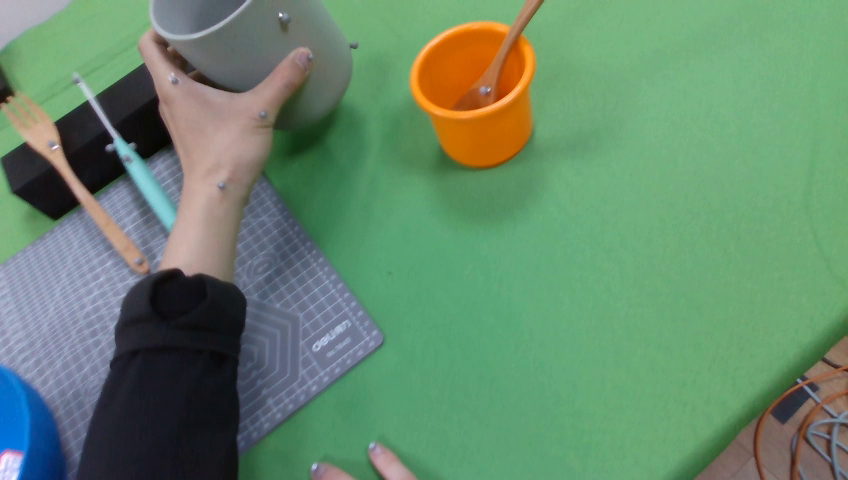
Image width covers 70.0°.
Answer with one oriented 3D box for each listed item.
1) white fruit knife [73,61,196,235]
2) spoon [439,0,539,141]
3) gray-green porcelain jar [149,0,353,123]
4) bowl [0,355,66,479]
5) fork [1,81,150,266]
[{"bbox_3d":[-0.257,-0.085,0.524,0.016,0.027,0.206,-38,74,-7],"label":"white fruit knife"},{"bbox_3d":[0.065,-0.150,0.436,0.022,0.194,0.041,-4,50,-39],"label":"spoon"},{"bbox_3d":[-0.122,-0.160,0.463,0.105,0.128,0.105,-9,65,20],"label":"gray-green porcelain jar"},{"bbox_3d":[-0.304,0.156,0.409,0.151,0.077,0.150,-6,62,12],"label":"bowl"},{"bbox_3d":[-0.297,-0.057,0.518,0.028,0.019,0.206,-39,79,-13],"label":"fork"}]
